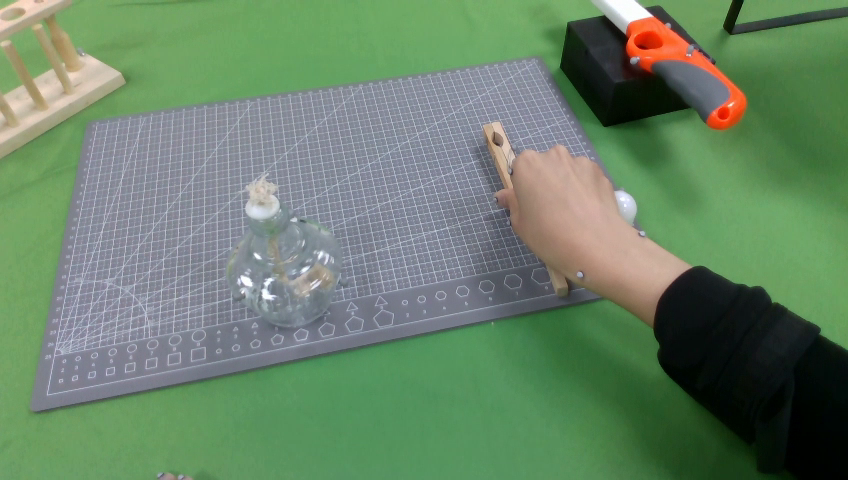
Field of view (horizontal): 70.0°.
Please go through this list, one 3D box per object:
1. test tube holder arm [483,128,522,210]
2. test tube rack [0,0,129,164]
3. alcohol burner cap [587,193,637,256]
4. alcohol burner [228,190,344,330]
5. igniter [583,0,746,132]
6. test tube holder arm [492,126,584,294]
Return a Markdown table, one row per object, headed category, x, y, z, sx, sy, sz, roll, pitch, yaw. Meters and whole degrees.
| category | x | y | z | sx | sy | sz | roll | pitch | yaw |
| --- | --- | --- | --- | --- | --- | --- | --- | --- | --- |
| test tube holder arm | 0.069 | -0.062 | 0.515 | 0.010 | 0.015 | 0.087 | -24 | 53 | 6 |
| test tube rack | -0.400 | -0.121 | 0.537 | 0.066 | 0.086 | 0.242 | 29 | 57 | 23 |
| alcohol burner cap | 0.145 | -0.015 | 0.462 | 0.034 | 0.048 | 0.033 | 0 | 50 | 1 |
| alcohol burner | -0.095 | 0.008 | 0.402 | 0.078 | 0.120 | 0.077 | -1 | 53 | 2 |
| igniter | 0.201 | -0.186 | 0.553 | 0.057 | 0.025 | 0.273 | -16 | 50 | -8 |
| test tube holder arm | 0.087 | -0.030 | 0.488 | 0.013 | 0.015 | 0.176 | -26 | 53 | 5 |
